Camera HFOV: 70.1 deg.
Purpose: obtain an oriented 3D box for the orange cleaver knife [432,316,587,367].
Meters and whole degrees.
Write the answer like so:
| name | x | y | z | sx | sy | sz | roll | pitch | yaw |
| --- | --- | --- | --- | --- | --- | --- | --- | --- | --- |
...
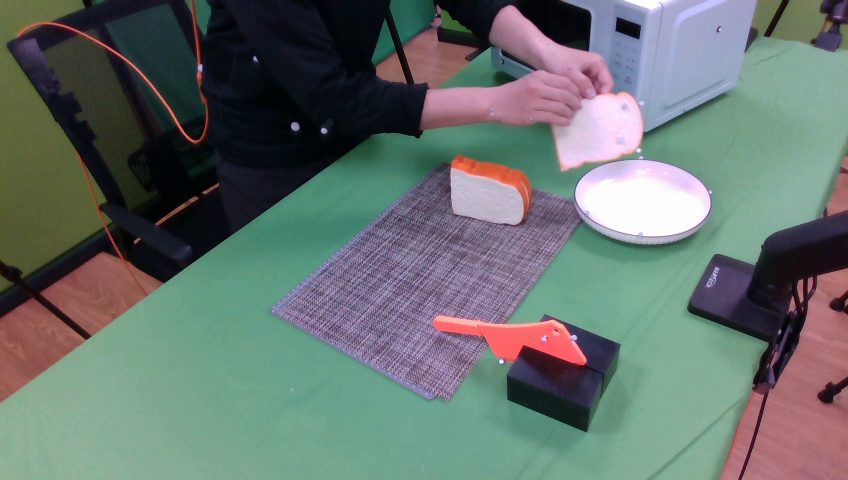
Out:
| name | x | y | z | sx | sy | sz | roll | pitch | yaw |
| --- | --- | --- | --- | --- | --- | --- | --- | --- | --- |
| orange cleaver knife | 0.101 | 0.127 | 0.761 | 0.210 | 0.077 | 0.012 | -1 | 34 | 40 |

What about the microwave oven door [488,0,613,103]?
| name | x | y | z | sx | sy | sz | roll | pitch | yaw |
| --- | --- | --- | --- | --- | --- | --- | --- | --- | --- |
| microwave oven door | 0.251 | -0.412 | 1.219 | 0.039 | 0.245 | 0.352 | -27 | 44 | -21 |

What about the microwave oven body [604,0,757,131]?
| name | x | y | z | sx | sy | sz | roll | pitch | yaw |
| --- | --- | --- | --- | --- | --- | --- | --- | --- | --- |
| microwave oven body | 0.396 | -0.448 | 1.248 | 0.327 | 0.261 | 0.437 | -27 | 44 | -21 |

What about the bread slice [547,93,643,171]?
| name | x | y | z | sx | sy | sz | roll | pitch | yaw |
| --- | --- | --- | --- | --- | --- | --- | --- | --- | --- |
| bread slice | 0.265 | -0.172 | 0.928 | 0.133 | 0.107 | 0.018 | -12 | 21 | 24 |

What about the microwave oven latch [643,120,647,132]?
| name | x | y | z | sx | sy | sz | roll | pitch | yaw |
| --- | --- | --- | --- | --- | --- | --- | --- | --- | --- |
| microwave oven latch | 0.378 | -0.225 | 1.139 | 0.030 | 0.029 | 0.078 | -26 | 43 | -19 |

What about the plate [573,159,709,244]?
| name | x | y | z | sx | sy | sz | roll | pitch | yaw |
| --- | --- | --- | --- | --- | --- | --- | --- | --- | --- |
| plate | 0.347 | -0.059 | 0.978 | 0.207 | 0.039 | 0.206 | -4 | 41 | 4 |
